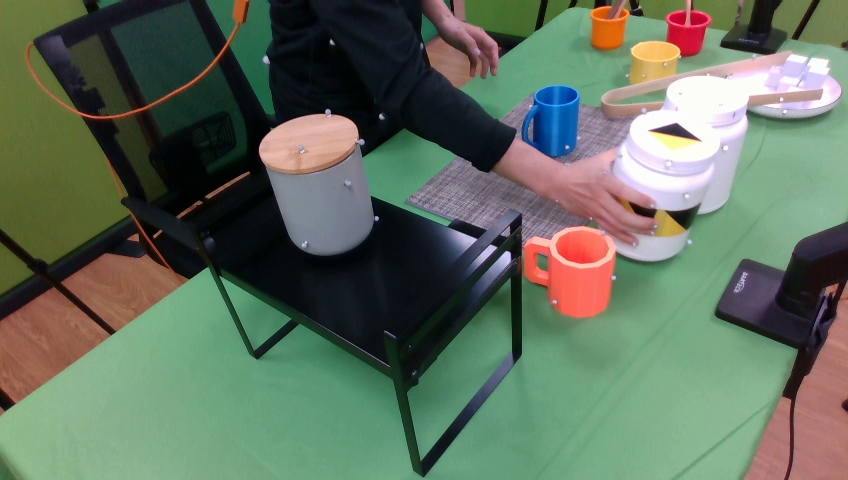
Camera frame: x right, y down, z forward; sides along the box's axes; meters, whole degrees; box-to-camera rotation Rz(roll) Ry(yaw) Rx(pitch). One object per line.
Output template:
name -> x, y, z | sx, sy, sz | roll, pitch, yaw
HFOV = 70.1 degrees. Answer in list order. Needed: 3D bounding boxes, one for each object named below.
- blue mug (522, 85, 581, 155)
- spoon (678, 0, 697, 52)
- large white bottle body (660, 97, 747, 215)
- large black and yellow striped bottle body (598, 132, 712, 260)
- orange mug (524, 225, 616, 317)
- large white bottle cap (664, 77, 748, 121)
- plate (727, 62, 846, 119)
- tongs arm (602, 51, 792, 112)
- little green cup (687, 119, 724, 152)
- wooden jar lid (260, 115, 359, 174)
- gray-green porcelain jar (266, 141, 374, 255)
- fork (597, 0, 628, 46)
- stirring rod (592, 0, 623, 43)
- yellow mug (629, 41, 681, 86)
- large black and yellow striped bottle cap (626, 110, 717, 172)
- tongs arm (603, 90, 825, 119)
blue mug -> 0.233, -0.218, 1.127 | 0.117, 0.106, 0.081 | -23, 43, -16
spoon -> 0.614, -0.526, 1.402 | 0.041, 0.022, 0.193 | 3, 86, 11
large white bottle body -> 0.431, -0.148, 0.959 | 0.130, 0.185, 0.130 | -4, 41, 4
large black and yellow striped bottle body -> 0.331, -0.076, 0.870 | 0.131, 0.184, 0.130 | 0, 45, 1
orange mug -> 0.201, 0.038, 0.845 | 0.125, 0.101, 0.083 | 18, 46, 21
large white bottle cap -> 0.421, -0.212, 0.905 | 0.115, 0.018, 0.114 | -4, 40, 4
plate -> 0.710, -0.292, 1.198 | 0.207, 0.039, 0.206 | -4, 40, 4
tongs arm -> 0.552, -0.320, 1.224 | 0.384, 0.027, 0.050 | -11, 44, 7
little green cup -> 0.514, -0.191, 1.109 | 0.061, 0.039, 0.061 | -5, 40, 5
wooden jar lid -> -0.124, -0.101, 0.662 | 0.108, 0.021, 0.108 | -4, 41, 4
gray-green porcelain jar -> -0.117, -0.054, 0.703 | 0.106, 0.127, 0.105 | -4, 40, 4
fork -> 0.479, -0.558, 1.455 | 0.028, 0.019, 0.207 | 35, 100, 38
stirring rod -> 0.460, -0.557, 1.461 | 0.014, 0.176, 0.006 | 35, 11, 22
yellow mug -> 0.495, -0.389, 1.321 | 0.100, 0.064, 0.130 | -14, 40, -6
large black and yellow striped bottle cap -> 0.331, -0.135, 0.810 | 0.115, 0.019, 0.114 | -1, 47, 1
tongs arm -> 0.546, -0.262, 1.163 | 0.386, 0.028, 0.028 | -1, 49, 18
